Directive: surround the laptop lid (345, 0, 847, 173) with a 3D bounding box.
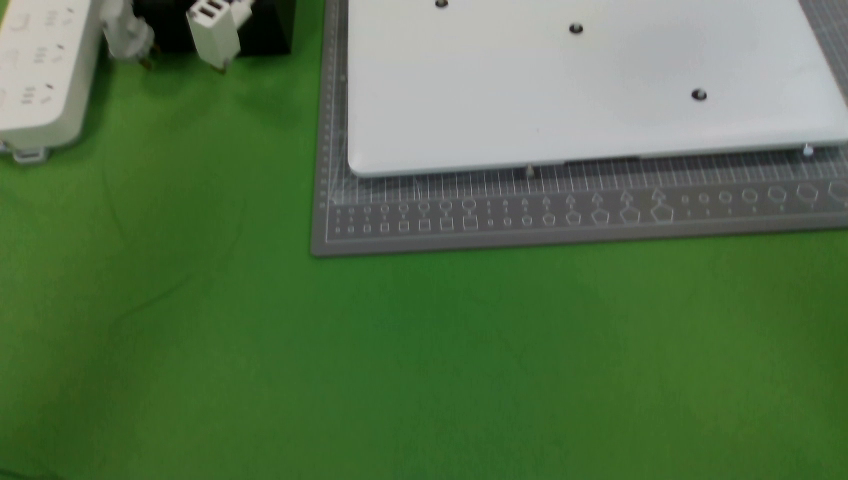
[{"bbox_3d":[0.115,-0.163,0.461,0.357,0.013,0.239,-3,64,2],"label":"laptop lid"}]

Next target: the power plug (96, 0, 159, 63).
[{"bbox_3d":[-0.218,-0.174,0.463,0.035,0.053,0.072,21,81,20],"label":"power plug"}]

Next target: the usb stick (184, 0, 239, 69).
[{"bbox_3d":[-0.151,-0.149,0.435,0.021,0.059,0.027,27,65,5],"label":"usb stick"}]

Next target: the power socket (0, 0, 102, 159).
[{"bbox_3d":[-0.303,-0.166,0.488,0.072,0.033,0.224,-6,62,-1],"label":"power socket"}]

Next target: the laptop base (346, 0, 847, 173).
[{"bbox_3d":[0.116,-0.159,0.472,0.354,0.023,0.233,-4,66,1],"label":"laptop base"}]
